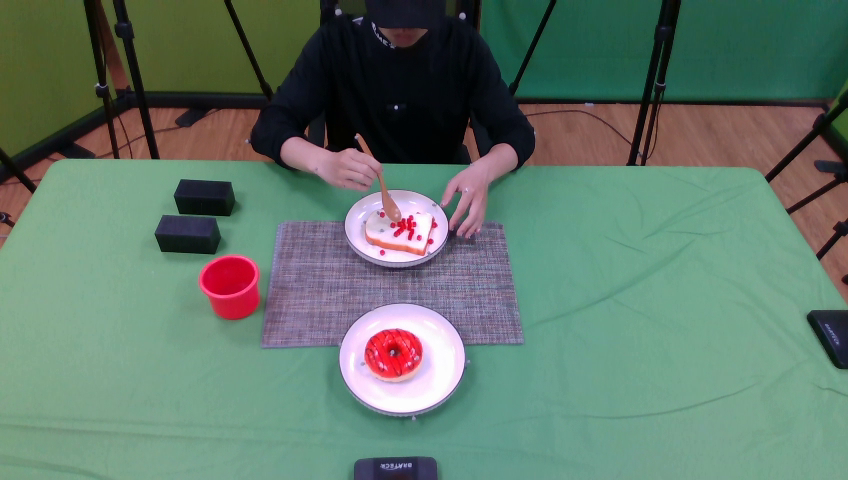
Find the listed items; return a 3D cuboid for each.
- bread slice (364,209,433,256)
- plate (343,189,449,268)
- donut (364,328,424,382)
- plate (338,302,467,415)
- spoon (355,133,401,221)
[{"bbox_3d":[-0.053,-0.020,1.199,0.131,0.019,0.104,10,46,3],"label":"bread slice"},{"bbox_3d":[-0.055,-0.019,1.195,0.209,0.038,0.208,3,46,-2],"label":"plate"},{"bbox_3d":[-0.049,0.185,0.984,0.099,0.048,0.098,1,45,-1],"label":"donut"},{"bbox_3d":[-0.035,0.194,0.992,0.208,0.039,0.206,2,48,-2],"label":"plate"},{"bbox_3d":[-0.086,-0.118,1.148,0.021,0.195,0.041,-4,34,27],"label":"spoon"}]
